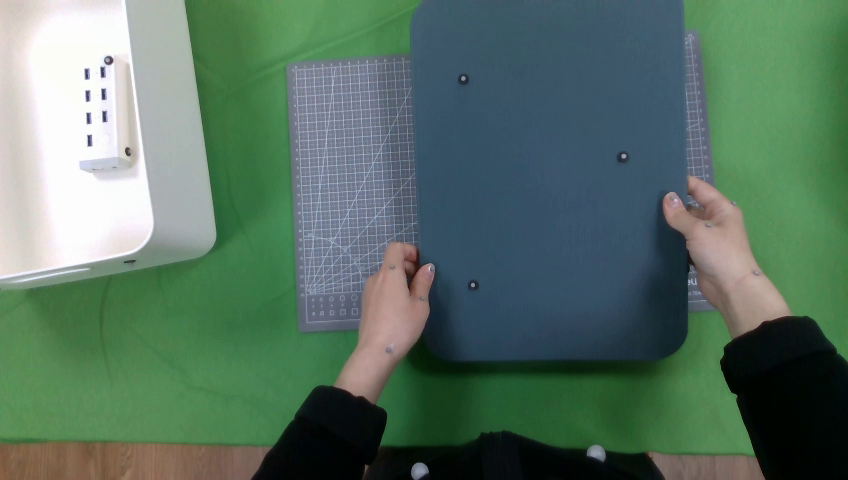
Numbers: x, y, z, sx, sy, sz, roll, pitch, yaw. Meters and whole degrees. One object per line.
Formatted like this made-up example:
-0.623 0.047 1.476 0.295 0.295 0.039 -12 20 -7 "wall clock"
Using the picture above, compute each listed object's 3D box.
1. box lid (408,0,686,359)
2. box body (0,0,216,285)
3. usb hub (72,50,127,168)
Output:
0.119 -0.064 0.597 0.263 0.015 0.371 -2 94 7 "box lid"
-0.374 -0.143 0.607 0.254 0.160 0.363 -10 86 3 "box body"
-0.357 -0.144 0.667 0.049 0.025 0.125 -5 85 4 "usb hub"
